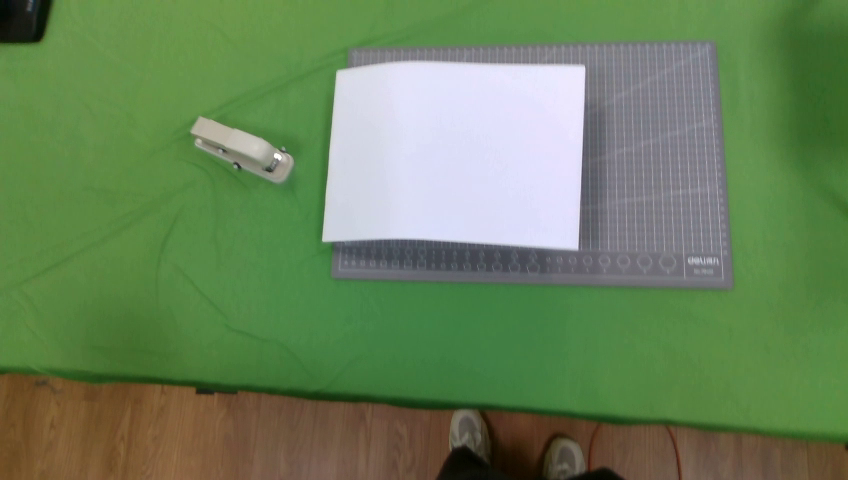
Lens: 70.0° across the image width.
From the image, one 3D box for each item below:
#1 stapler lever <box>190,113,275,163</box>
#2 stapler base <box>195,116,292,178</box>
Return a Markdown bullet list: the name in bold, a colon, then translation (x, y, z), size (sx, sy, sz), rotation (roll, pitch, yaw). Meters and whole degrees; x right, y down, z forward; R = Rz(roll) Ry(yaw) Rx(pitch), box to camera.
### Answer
- **stapler lever**: translation (-0.232, -0.124, 0.729), size (0.117, 0.040, 0.027), rotation (24, 78, 11)
- **stapler base**: translation (-0.228, -0.118, 0.752), size (0.130, 0.024, 0.041), rotation (24, 79, 12)
